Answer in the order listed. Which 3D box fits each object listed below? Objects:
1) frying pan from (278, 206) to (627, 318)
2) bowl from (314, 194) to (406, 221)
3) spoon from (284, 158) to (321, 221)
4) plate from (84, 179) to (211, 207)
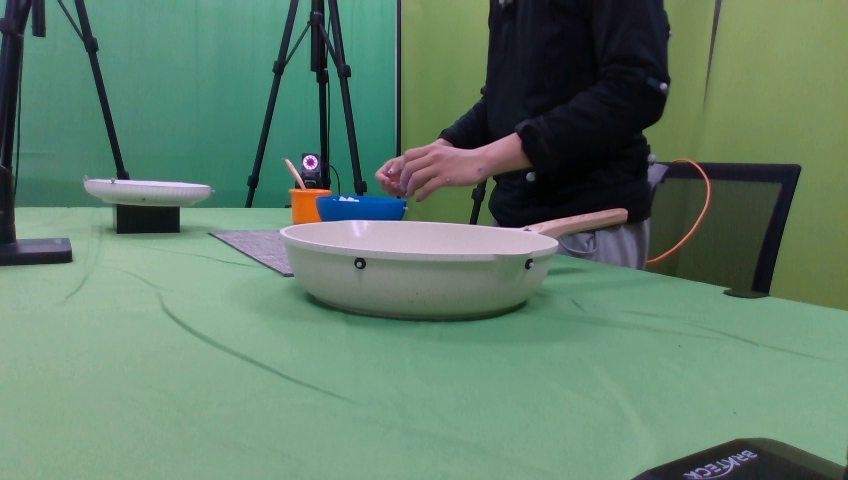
[{"bbox_3d":[0.079,0.002,0.705,0.490,0.102,0.305,-12,15,-33],"label":"frying pan"},{"bbox_3d":[-0.105,-0.033,0.992,0.151,0.077,0.151,3,8,0],"label":"bowl"},{"bbox_3d":[-0.269,-0.114,1.335,0.042,0.193,0.021,-4,-34,-42],"label":"spoon"},{"bbox_3d":[-0.495,-0.085,1.093,0.208,0.039,0.207,4,7,0],"label":"plate"}]
